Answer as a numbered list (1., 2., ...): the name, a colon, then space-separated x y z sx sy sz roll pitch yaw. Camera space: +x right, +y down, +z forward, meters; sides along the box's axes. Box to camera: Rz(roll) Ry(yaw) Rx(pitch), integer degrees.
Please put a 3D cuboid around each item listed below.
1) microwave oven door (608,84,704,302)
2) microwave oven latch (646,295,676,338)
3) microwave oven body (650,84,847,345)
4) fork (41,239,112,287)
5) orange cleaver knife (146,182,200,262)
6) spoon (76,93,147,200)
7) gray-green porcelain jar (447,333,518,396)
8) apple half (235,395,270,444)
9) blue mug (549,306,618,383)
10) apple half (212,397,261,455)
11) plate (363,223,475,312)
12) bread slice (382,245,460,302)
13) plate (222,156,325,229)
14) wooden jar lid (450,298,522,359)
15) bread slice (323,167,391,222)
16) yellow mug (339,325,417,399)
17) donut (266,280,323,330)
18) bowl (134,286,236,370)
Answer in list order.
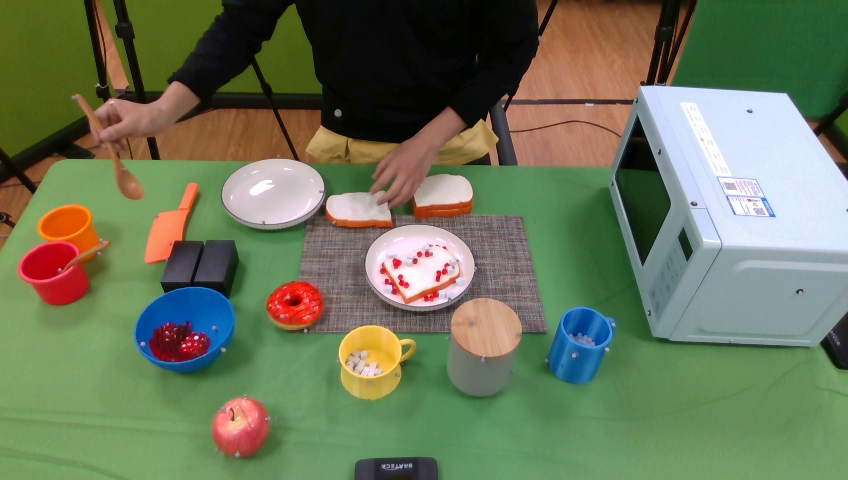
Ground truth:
1. microwave oven door: 0.424 -0.096 1.138 0.039 0.245 0.353 2 47 -1
2. microwave oven latch: 0.413 0.133 1.060 0.030 0.029 0.078 4 46 1
3. microwave oven body: 0.569 -0.054 1.116 0.326 0.261 0.439 2 46 -1
4. fork: -0.591 0.040 1.028 0.207 0.019 0.028 -27 37 29
5. orange cleaver knife: -0.494 -0.039 1.198 0.077 0.012 0.210 -4 48 2
6. spoon: -0.526 -0.156 1.021 0.021 0.194 0.041 -5 26 32
7. gray-green porcelain jar: 0.091 0.178 0.960 0.106 0.127 0.105 2 46 -2
8. apple half: -0.245 0.260 0.893 0.033 0.082 0.081 -29 55 -22
9. blue mug: 0.269 0.167 0.997 0.116 0.106 0.082 -19 51 -21
10. apple half: -0.276 0.277 0.877 0.053 0.075 0.080 -29 58 -21
11. plate: -0.009 0.054 1.126 0.208 0.039 0.206 2 46 -2
12. bread slice: 0.000 0.054 1.128 0.132 0.019 0.104 -20 51 -22
13. plate: -0.308 -0.095 1.251 0.209 0.038 0.208 3 47 -3
14. wooden jar lid: 0.093 0.135 0.914 0.108 0.021 0.107 3 48 -3
15. bread slice: -0.139 -0.090 1.226 0.134 0.018 0.106 -18 50 4
16. yellow mug: -0.072 0.191 0.978 0.131 0.064 0.099 -17 49 -20
17. donut: -0.223 0.112 1.051 0.099 0.048 0.098 2 46 -2
18. bowl: -0.377 0.155 0.981 0.151 0.077 0.150 2 46 -2
